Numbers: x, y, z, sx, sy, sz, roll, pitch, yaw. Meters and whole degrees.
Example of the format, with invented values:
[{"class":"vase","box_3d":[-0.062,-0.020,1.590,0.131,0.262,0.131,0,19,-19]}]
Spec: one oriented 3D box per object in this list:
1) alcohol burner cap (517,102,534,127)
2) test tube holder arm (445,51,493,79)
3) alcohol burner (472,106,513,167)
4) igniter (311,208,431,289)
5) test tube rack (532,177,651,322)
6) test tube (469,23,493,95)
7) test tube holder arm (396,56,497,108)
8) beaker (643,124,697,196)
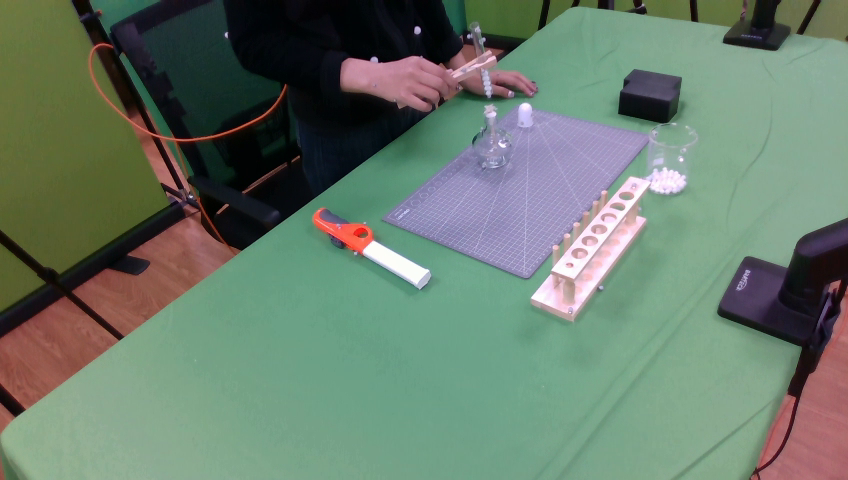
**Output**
[{"class":"alcohol burner cap","box_3d":[0.205,-0.255,1.223,0.034,0.048,0.033,-6,41,6]},{"class":"test tube holder arm","box_3d":[0.075,-0.286,1.002,0.088,0.015,0.010,-32,55,-5]},{"class":"alcohol burner","box_3d":[0.125,-0.195,1.111,0.078,0.119,0.077,-5,42,5]},{"class":"igniter","box_3d":[-0.096,0.008,0.986,0.274,0.025,0.057,28,62,36]},{"class":"test tube rack","box_3d":[0.247,0.002,0.883,0.066,0.085,0.243,22,49,32]},{"class":"test tube","box_3d":[0.096,-0.295,0.998,0.017,0.151,0.017,-7,58,12]},{"class":"test tube holder arm","box_3d":[0.037,-0.261,0.997,0.178,0.015,0.013,-25,54,0]},{"class":"beaker","box_3d":[0.407,-0.132,1.001,0.084,0.101,0.073,-20,41,-13]}]
